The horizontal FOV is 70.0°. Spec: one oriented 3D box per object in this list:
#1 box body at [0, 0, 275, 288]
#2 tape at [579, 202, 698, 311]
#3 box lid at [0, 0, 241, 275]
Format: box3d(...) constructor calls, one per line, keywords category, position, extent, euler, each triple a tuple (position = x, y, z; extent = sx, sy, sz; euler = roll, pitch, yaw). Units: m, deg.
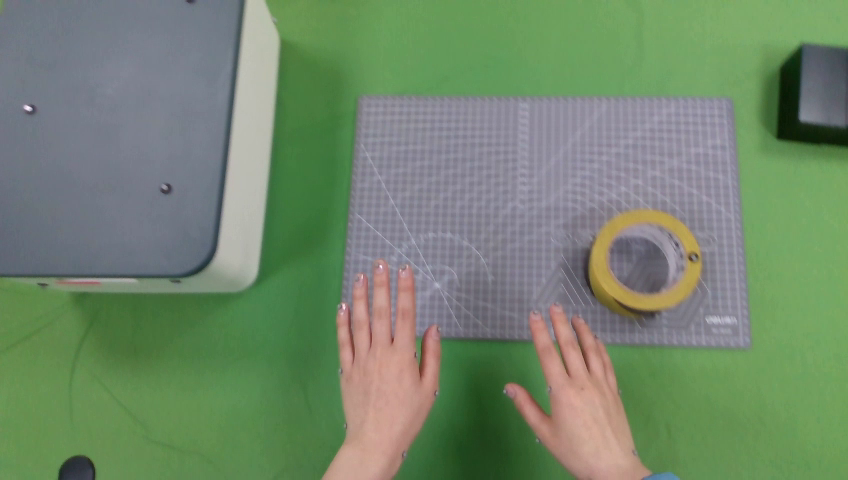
box3d(category="box body", position=(-0.314, -0.129, 0.669), extent=(0.254, 0.161, 0.362), euler=(0, 77, 3))
box3d(category="tape", position=(0.231, 0.020, 0.654), extent=(0.117, 0.053, 0.116), euler=(-1, 76, 4))
box3d(category="box lid", position=(-0.318, -0.149, 0.598), extent=(0.263, 0.015, 0.369), euler=(0, 78, 3))
